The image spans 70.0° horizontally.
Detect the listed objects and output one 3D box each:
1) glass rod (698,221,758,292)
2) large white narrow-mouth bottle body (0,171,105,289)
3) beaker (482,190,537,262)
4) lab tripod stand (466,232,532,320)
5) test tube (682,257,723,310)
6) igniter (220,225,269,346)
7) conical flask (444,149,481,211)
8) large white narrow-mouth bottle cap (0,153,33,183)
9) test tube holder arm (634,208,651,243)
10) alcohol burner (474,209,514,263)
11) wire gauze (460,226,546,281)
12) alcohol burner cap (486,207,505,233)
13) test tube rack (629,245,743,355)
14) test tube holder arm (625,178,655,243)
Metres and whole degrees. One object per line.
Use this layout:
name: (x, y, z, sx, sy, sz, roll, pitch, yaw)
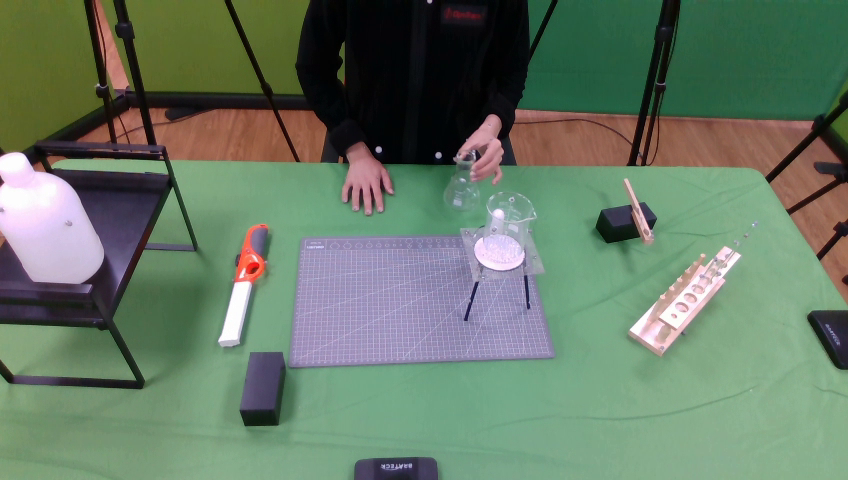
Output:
glass rod: (0.527, 0.035, 1.059, 0.008, 0.200, 0.008, 5, 49, -6)
large white narrow-mouth bottle body: (-0.513, -0.029, 0.818, 0.102, 0.195, 0.101, 2, 46, -2)
beaker: (0.136, -0.019, 0.983, 0.084, 0.101, 0.073, 17, 47, 14)
lab tripod stand: (0.125, 0.059, 1.065, 0.148, 0.132, 0.147, 1, 45, 0)
test tube: (0.475, 0.080, 1.037, 0.017, 0.151, 0.017, 1, 50, -1)
igniter: (-0.323, 0.072, 1.101, 0.057, 0.025, 0.275, -6, 46, 5)
conical flask: (0.079, -0.120, 1.180, 0.075, 0.122, 0.075, 1, 51, -1)
large white narrow-mouth bottle cap: (-0.510, -0.089, 0.754, 0.038, 0.024, 0.037, 2, 46, -2)
test tube holder arm: (0.428, -0.030, 1.189, 0.010, 0.015, 0.087, 1, 47, -2)
alcohol burner: (0.134, -0.013, 1.150, 0.078, 0.120, 0.077, 0, 47, 0)
wire gauze: (0.130, 0.017, 1.016, 0.121, 0.011, 0.124, -4, 43, -9)
alcohol burner cap: (0.135, -0.039, 1.125, 0.034, 0.048, 0.033, 4, 42, -4)
test tube rack: (0.474, 0.095, 1.091, 0.242, 0.085, 0.066, -34, 56, -31)
test tube holder arm: (0.433, -0.062, 1.220, 0.013, 0.015, 0.177, 1, 47, -3)
